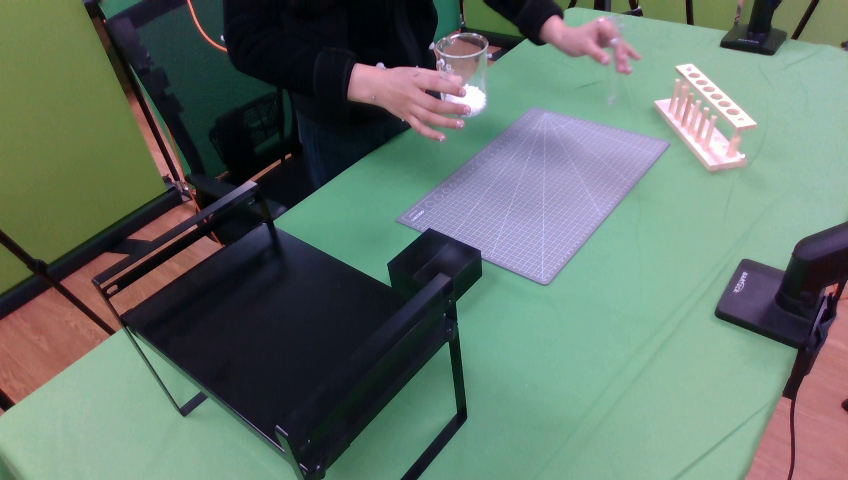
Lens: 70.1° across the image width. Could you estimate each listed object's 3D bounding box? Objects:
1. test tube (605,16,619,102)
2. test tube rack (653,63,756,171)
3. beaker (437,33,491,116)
[{"bbox_3d":[0.314,-0.300,1.011,0.017,0.151,0.017,-6,41,6],"label":"test tube"},{"bbox_3d":[0.510,-0.233,1.120,0.067,0.085,0.241,-9,41,-1],"label":"test tube rack"},{"bbox_3d":[0.057,-0.240,0.885,0.074,0.100,0.083,-21,44,-16],"label":"beaker"}]
